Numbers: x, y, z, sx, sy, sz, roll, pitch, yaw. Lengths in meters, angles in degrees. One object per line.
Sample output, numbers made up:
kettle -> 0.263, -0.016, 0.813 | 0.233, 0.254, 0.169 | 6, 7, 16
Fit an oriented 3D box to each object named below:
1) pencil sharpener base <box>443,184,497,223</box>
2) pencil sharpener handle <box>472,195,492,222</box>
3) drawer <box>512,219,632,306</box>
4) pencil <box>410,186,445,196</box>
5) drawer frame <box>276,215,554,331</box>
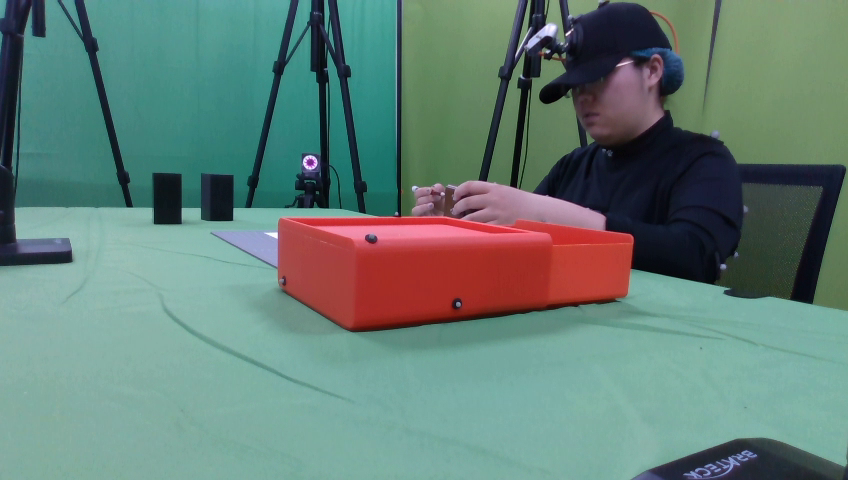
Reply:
pencil sharpener base -> 0.073, -0.033, 0.986 | 0.061, 0.107, 0.076 | -1, 12, -26
pencil sharpener handle -> 0.097, -0.035, 0.939 | 0.036, 0.067, 0.030 | -5, 14, -26
drawer -> 0.085, 0.021, 0.674 | 0.213, 0.073, 0.193 | -2, 9, -32
pencil -> 0.006, -0.092, 1.148 | 0.012, 0.012, 0.193 | 0, 7, -19
drawer frame -> -0.015, 0.022, 0.610 | 0.215, 0.082, 0.200 | -2, 9, -32
